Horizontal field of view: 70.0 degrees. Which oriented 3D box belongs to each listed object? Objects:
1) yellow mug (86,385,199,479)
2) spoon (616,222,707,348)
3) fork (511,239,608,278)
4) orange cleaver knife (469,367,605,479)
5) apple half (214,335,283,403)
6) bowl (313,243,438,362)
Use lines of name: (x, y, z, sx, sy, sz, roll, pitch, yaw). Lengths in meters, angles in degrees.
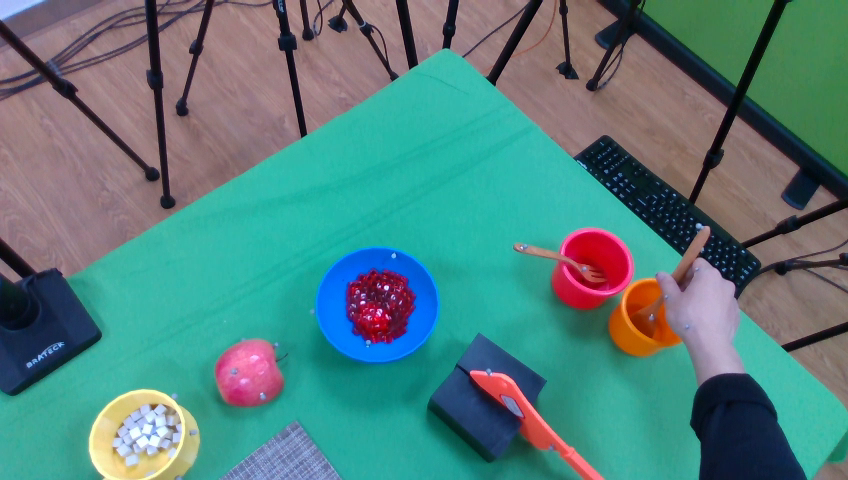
yellow mug: (-0.317, 0.231, 0.668, 0.100, 0.064, 0.130, 25, 64, 7)
spoon: (0.297, 0.060, 0.753, 0.041, 0.195, 0.021, 28, 34, 10)
fork: (0.178, 0.024, 0.776, 0.209, 0.018, 0.028, 18, 51, -44)
orange cleaver knife: (0.133, 0.222, 0.710, 0.212, 0.077, 0.012, 47, 60, -7)
apple half: (-0.213, 0.151, 0.726, 0.075, 0.054, 0.080, -15, 66, -10)
bowl: (-0.061, 0.088, 0.759, 0.151, 0.077, 0.150, 2, 64, -5)
